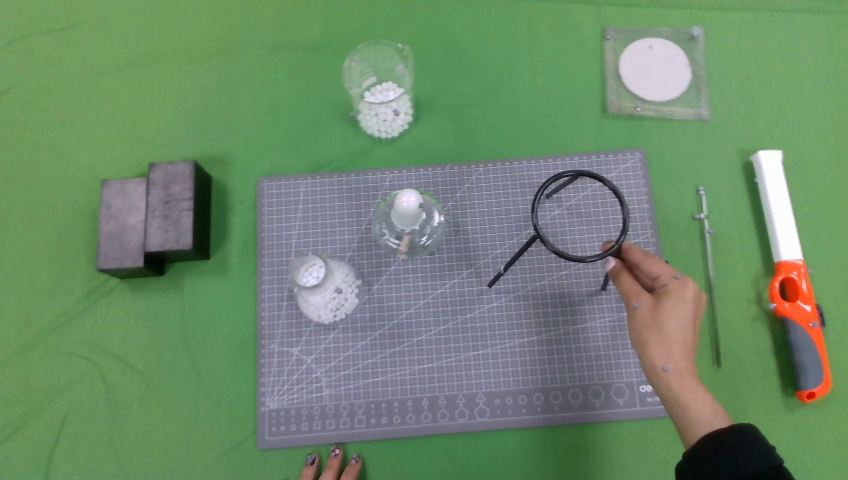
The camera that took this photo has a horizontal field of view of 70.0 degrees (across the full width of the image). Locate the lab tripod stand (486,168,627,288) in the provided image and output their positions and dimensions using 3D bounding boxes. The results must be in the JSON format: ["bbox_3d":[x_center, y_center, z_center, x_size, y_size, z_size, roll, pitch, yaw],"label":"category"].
[{"bbox_3d":[0.135,-0.002,0.608,0.148,0.132,0.147,1,74,-2],"label":"lab tripod stand"}]

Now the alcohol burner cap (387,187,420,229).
[{"bbox_3d":[-0.019,-0.035,0.595,0.034,0.048,0.033,2,69,-6],"label":"alcohol burner cap"}]

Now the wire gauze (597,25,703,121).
[{"bbox_3d":[0.272,-0.204,0.727,0.125,0.011,0.121,3,77,-1],"label":"wire gauze"}]

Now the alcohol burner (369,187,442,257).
[{"bbox_3d":[-0.019,-0.024,0.630,0.078,0.119,0.077,0,76,-1],"label":"alcohol burner"}]

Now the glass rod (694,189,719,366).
[{"bbox_3d":[0.311,0.038,0.669,0.008,0.008,0.198,0,76,0],"label":"glass rod"}]

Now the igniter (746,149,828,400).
[{"bbox_3d":[0.394,0.032,0.660,0.057,0.025,0.275,-2,76,-11],"label":"igniter"}]

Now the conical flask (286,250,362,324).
[{"bbox_3d":[-0.106,0.042,0.611,0.075,0.122,0.075,0,76,1],"label":"conical flask"}]

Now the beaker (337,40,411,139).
[{"bbox_3d":[-0.050,-0.164,0.674,0.073,0.100,0.084,44,80,10],"label":"beaker"}]
